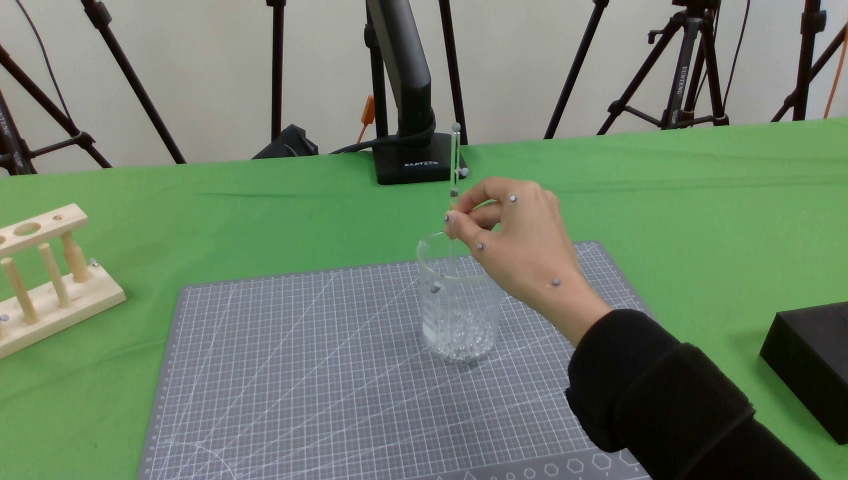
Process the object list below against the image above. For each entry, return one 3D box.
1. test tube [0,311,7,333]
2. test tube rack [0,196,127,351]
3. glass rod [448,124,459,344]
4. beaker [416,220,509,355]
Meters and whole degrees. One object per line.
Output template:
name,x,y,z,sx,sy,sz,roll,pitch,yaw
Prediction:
test tube,-0.378,0.019,0.497,0.017,0.151,0.017,2,35,-1
test tube rack,-0.403,0.054,0.526,0.242,0.086,0.066,-30,46,-35
glass rod,0.024,0.004,0.485,0.008,0.201,0.008,0,30,1
beaker,0.029,0.043,0.528,0.083,0.101,0.074,26,43,33
